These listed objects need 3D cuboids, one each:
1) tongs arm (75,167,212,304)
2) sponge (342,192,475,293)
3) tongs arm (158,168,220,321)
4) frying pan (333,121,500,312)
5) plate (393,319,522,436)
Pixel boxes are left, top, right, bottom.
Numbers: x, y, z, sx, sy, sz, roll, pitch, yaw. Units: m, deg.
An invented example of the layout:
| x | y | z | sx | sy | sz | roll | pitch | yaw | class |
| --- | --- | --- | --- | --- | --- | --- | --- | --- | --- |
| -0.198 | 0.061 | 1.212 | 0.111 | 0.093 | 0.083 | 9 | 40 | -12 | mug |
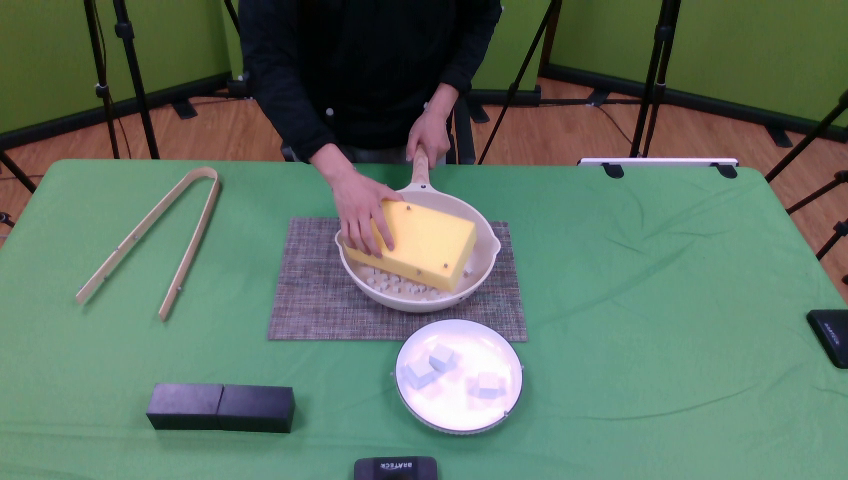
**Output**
| x | y | z | sx | sy | sz | roll | pitch | yaw | class |
| --- | --- | --- | --- | --- | --- | --- | --- | --- | --- |
| -0.525 | -0.021 | 1.167 | 0.051 | 0.026 | 0.383 | 13 | 46 | 7 | tongs arm |
| -0.026 | 0.002 | 1.083 | 0.206 | 0.061 | 0.118 | 18 | 64 | 15 | sponge |
| -0.446 | -0.006 | 1.164 | 0.028 | 0.028 | 0.385 | 1 | 46 | 0 | tongs arm |
| -0.011 | -0.063 | 1.195 | 0.307 | 0.103 | 0.485 | 4 | 55 | -2 | frying pan |
| 0.053 | 0.222 | 0.979 | 0.208 | 0.039 | 0.206 | 3 | 46 | -2 | plate |
